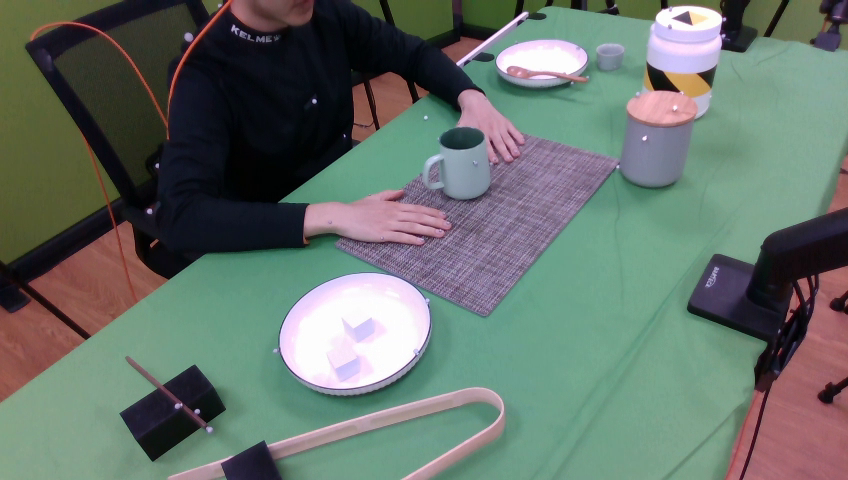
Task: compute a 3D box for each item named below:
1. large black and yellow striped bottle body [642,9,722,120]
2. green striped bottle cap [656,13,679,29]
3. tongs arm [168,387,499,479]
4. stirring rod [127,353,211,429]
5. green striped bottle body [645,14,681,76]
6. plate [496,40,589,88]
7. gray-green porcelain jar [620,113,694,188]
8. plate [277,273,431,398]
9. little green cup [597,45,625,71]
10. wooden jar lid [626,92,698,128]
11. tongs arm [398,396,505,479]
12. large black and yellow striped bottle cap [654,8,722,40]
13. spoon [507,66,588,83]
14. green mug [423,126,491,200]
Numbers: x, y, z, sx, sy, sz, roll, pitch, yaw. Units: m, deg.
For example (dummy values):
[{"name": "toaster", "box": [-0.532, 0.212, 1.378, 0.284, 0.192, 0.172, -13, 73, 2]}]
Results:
[{"name": "large black and yellow striped bottle body", "box": [0.493, -0.334, 1.161, 0.131, 0.185, 0.130, -4, 41, 4]}, {"name": "green striped bottle cap", "box": [0.515, -0.463, 1.278, 0.044, 0.020, 0.044, -6, 42, 6]}, {"name": "tongs arm", "box": [-0.100, 0.231, 0.711, 0.388, 0.028, 0.028, -13, 32, -7]}, {"name": "stirring rod", "box": [-0.311, 0.180, 0.731, 0.175, 0.014, 0.006, 25, 53, 31]}, {"name": "green striped bottle body", "box": [0.520, -0.424, 1.312, 0.063, 0.120, 0.063, -4, 41, 4]}, {"name": "plate", "box": [0.269, -0.398, 1.381, 0.209, 0.038, 0.208, -4, 41, 4]}, {"name": "gray-green porcelain jar", "box": [0.390, -0.160, 1.020, 0.106, 0.127, 0.105, -4, 41, 4]}, {"name": "plate", "box": [-0.091, 0.129, 0.821, 0.207, 0.039, 0.206, -4, 40, 4]}, {"name": "little green cup", "box": [0.422, -0.413, 1.375, 0.061, 0.039, 0.061, -3, 41, 3]}, {"name": "wooden jar lid", "box": [0.384, -0.207, 0.980, 0.108, 0.021, 0.108, -6, 39, 5]}, {"name": "tongs arm", "box": [-0.071, 0.272, 0.652, 0.386, 0.026, 0.050, -21, 37, -17]}, {"name": "large black and yellow striped bottle cap", "box": [0.483, -0.397, 1.108, 0.115, 0.019, 0.114, -3, 41, 3]}, {"name": "spoon", "box": [0.265, -0.357, 1.311, 0.192, 0.022, 0.042, 18, 47, 38]}, {"name": "green mug", "box": [0.055, -0.125, 1.039, 0.126, 0.105, 0.091, -25, 44, -19]}]
